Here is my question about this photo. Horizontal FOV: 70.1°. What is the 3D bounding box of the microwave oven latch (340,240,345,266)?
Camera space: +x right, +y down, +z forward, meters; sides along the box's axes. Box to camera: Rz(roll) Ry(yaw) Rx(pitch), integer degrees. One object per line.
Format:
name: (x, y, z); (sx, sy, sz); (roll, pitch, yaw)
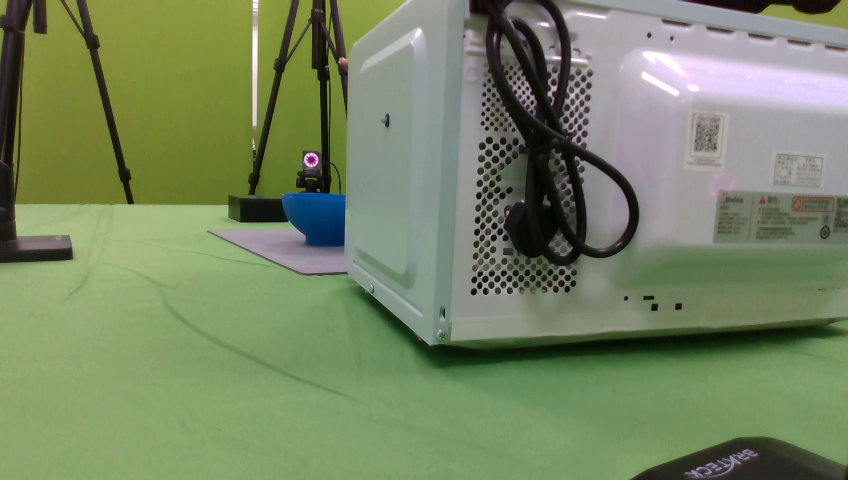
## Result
microwave oven latch: (-0.052, 0.016, 0.662); (0.079, 0.029, 0.030); (1, 7, -19)

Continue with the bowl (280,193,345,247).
bowl: (-0.153, -0.032, 0.970); (0.151, 0.077, 0.151); (3, 7, 0)

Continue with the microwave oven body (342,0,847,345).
microwave oven body: (0.169, -0.060, 0.573); (0.444, 0.260, 0.324); (1, 7, -20)

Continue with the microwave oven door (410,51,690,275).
microwave oven door: (0.161, -0.084, 0.723); (0.357, 0.243, 0.039); (0, 8, -20)
